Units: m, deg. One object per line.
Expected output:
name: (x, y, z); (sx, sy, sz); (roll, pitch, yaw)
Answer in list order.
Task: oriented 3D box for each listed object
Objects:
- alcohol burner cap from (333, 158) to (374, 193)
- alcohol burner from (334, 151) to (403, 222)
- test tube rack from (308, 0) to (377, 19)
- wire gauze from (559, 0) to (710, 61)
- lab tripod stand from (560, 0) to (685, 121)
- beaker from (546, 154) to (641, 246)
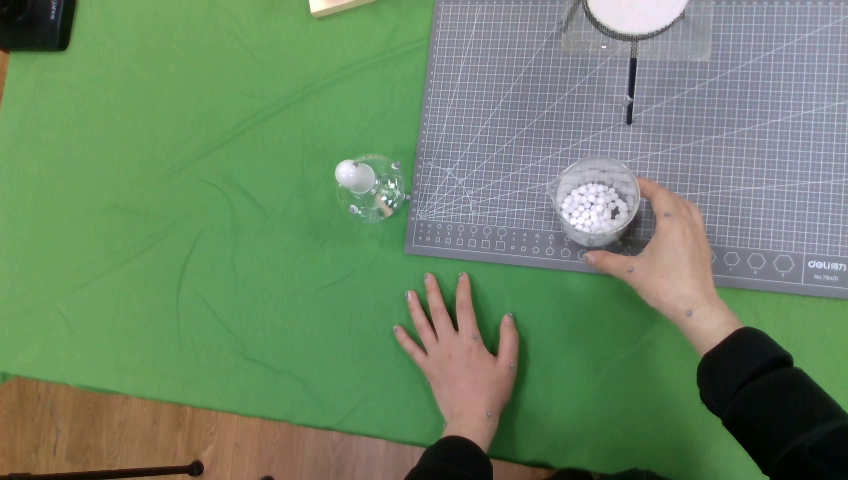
alcohol burner cap: (-0.073, -0.066, 0.607); (0.034, 0.048, 0.034); (-1, 86, 13)
alcohol burner: (-0.064, -0.061, 0.641); (0.078, 0.120, 0.077); (-2, 80, 12)
test tube rack: (-0.034, -0.332, 0.682); (0.242, 0.085, 0.066); (-12, 80, 12)
wire gauze: (0.181, -0.214, 0.517); (0.124, 0.011, 0.121); (5, 86, 14)
lab tripod stand: (0.197, -0.205, 0.583); (0.148, 0.132, 0.148); (-1, 84, 12)
beaker: (0.162, -0.034, 0.588); (0.083, 0.101, 0.074); (12, 85, 16)
